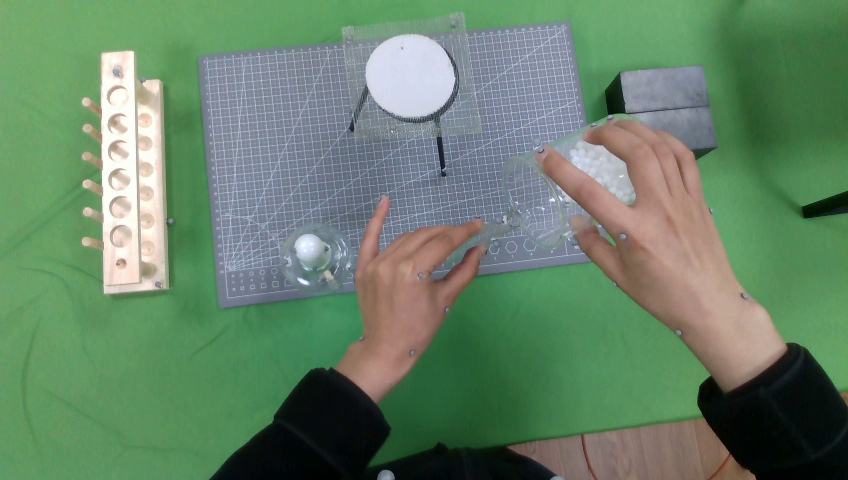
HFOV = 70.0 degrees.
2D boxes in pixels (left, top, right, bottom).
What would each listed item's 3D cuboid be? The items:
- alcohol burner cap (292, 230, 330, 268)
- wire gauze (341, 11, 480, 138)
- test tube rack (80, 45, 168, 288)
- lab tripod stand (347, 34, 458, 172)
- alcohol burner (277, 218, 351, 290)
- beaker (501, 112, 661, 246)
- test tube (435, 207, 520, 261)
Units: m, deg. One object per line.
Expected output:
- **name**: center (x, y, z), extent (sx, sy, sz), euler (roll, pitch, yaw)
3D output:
- **alcohol burner cap**: center (-0.113, 0.007, 0.597), extent (0.034, 0.048, 0.033), euler (0, 76, 2)
- **wire gauze**: center (-0.013, -0.160, 0.587), extent (0.125, 0.011, 0.121), euler (-6, 83, -5)
- **test tube rack**: center (-0.325, -0.074, 0.648), extent (0.067, 0.085, 0.241), euler (-4, 82, -4)
- **lab tripod stand**: center (-0.014, -0.154, 0.653), extent (0.148, 0.132, 0.148), euler (1, 80, -3)
- **alcohol burner**: center (-0.116, 0.012, 0.632), extent (0.078, 0.119, 0.077), euler (1, 81, -5)
- **beaker**: center (0.119, -0.048, 0.458), extent (0.100, 0.084, 0.073), euler (-24, 81, -16)
- **test tube**: center (0.044, -0.002, 0.549), extent (0.017, 0.150, 0.017), euler (5, 75, -21)
